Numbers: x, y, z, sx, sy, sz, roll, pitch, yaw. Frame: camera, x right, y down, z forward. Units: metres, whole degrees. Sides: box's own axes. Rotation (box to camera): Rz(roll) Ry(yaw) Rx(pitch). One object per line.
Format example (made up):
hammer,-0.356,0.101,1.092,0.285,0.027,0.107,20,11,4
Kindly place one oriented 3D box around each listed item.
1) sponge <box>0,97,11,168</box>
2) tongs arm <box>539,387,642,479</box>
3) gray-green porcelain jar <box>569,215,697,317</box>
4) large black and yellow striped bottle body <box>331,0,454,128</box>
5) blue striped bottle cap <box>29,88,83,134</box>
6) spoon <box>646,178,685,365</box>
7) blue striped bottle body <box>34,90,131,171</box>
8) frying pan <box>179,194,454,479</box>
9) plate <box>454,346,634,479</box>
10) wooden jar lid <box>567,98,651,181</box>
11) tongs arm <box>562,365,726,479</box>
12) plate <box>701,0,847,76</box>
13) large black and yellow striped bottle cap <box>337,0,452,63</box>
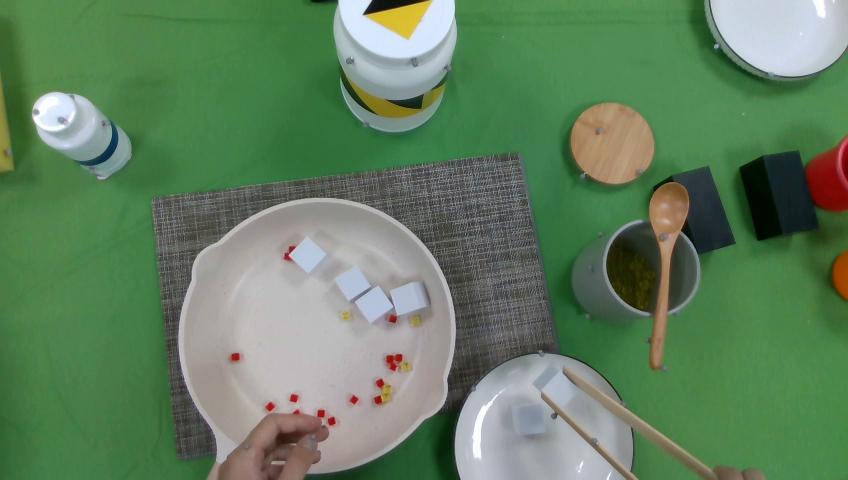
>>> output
sponge,-0.562,-0.178,0.688,0.118,0.061,0.206,-13,83,-8
tongs arm,0.256,0.251,0.537,0.051,0.027,0.380,-35,53,-17
gray-green porcelain jar,0.231,0.035,0.695,0.106,0.127,0.105,1,80,-5
large black and yellow striped bottle body,-0.036,-0.217,0.682,0.131,0.184,0.130,1,80,-5
blue striped bottle cap,-0.374,-0.132,0.616,0.044,0.020,0.044,1,82,-5
spoon,0.243,0.032,0.625,0.042,0.021,0.193,8,84,-8
blue striped bottle body,-0.378,-0.122,0.666,0.063,0.121,0.063,1,80,-5
frying pan,-0.167,0.180,0.642,0.307,0.103,0.486,32,71,1
plate,0.135,0.226,0.698,0.208,0.039,0.207,1,82,-6
wooden jar lid,0.235,-0.127,0.775,0.108,0.021,0.108,1,82,-5
tongs arm,0.274,0.237,0.545,0.028,0.028,0.383,-37,53,-22
plate,0.471,-0.316,0.817,0.209,0.038,0.208,1,81,-5
large black and yellow striped bottle cap,-0.028,-0.233,0.599,0.115,0.019,0.114,1,82,-5
